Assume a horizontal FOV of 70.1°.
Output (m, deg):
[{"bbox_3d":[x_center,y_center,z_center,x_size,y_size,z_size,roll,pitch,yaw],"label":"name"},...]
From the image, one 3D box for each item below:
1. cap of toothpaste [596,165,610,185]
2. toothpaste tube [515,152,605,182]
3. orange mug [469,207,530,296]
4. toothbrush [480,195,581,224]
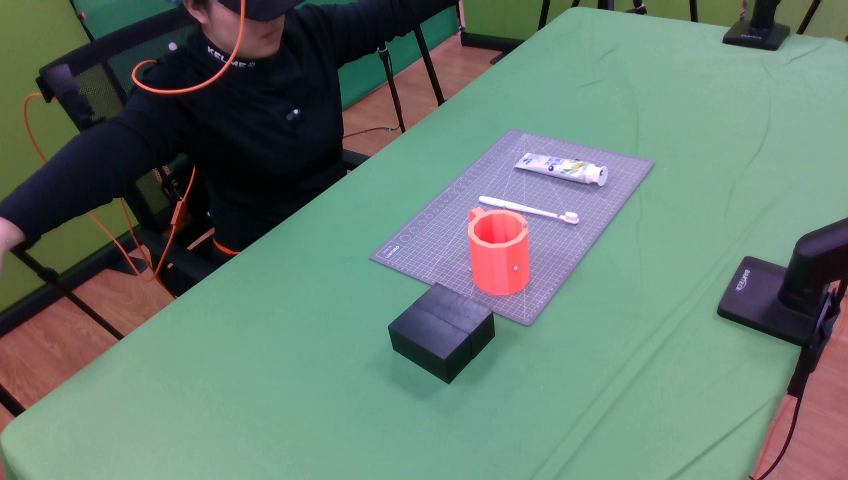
[{"bbox_3d":[0.307,-0.113,1.041,0.011,0.037,0.037,20,48,39],"label":"cap of toothpaste"},{"bbox_3d":[0.248,-0.133,1.087,0.164,0.034,0.055,17,42,34],"label":"toothpaste tube"},{"bbox_3d":[0.104,0.008,0.893,0.084,0.101,0.125,-22,46,-14],"label":"orange mug"},{"bbox_3d":[0.175,-0.054,1.016,0.180,0.017,0.014,15,59,29],"label":"toothbrush"}]
